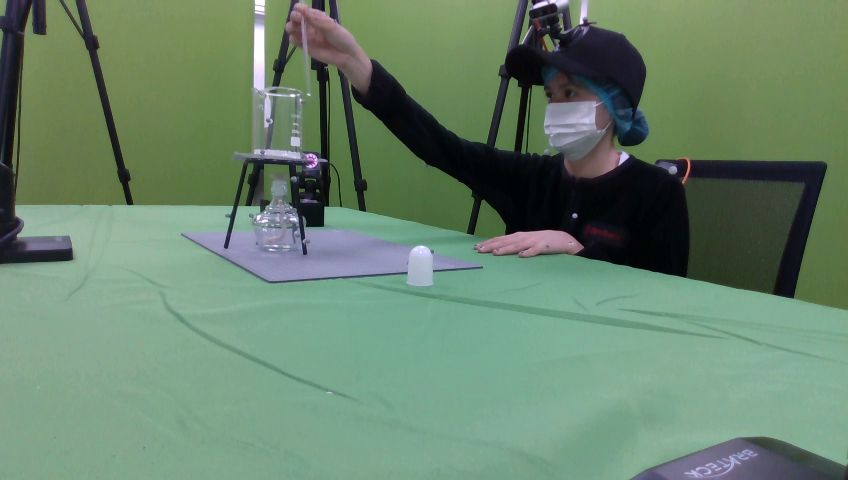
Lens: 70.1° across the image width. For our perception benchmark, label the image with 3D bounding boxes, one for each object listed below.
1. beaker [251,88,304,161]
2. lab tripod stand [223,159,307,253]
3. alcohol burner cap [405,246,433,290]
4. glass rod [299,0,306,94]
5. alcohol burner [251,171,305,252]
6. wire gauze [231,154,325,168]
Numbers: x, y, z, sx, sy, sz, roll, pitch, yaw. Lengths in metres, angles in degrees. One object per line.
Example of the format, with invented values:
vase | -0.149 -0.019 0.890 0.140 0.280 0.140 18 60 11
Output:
beaker | -0.214 -0.165 0.874 0.074 0.100 0.084 4 6 15
lab tripod stand | -0.220 -0.053 0.896 0.148 0.131 0.148 1 6 0
alcohol burner cap | -0.005 0.031 0.698 0.034 0.048 0.034 3 8 0
glass rod | -0.190 -0.326 0.938 0.008 0.199 0.008 -2 1 0
alcohol burner | -0.214 -0.042 0.888 0.078 0.119 0.078 2 9 0
wire gauze | -0.215 -0.117 0.882 0.125 0.011 0.121 3 7 -19
